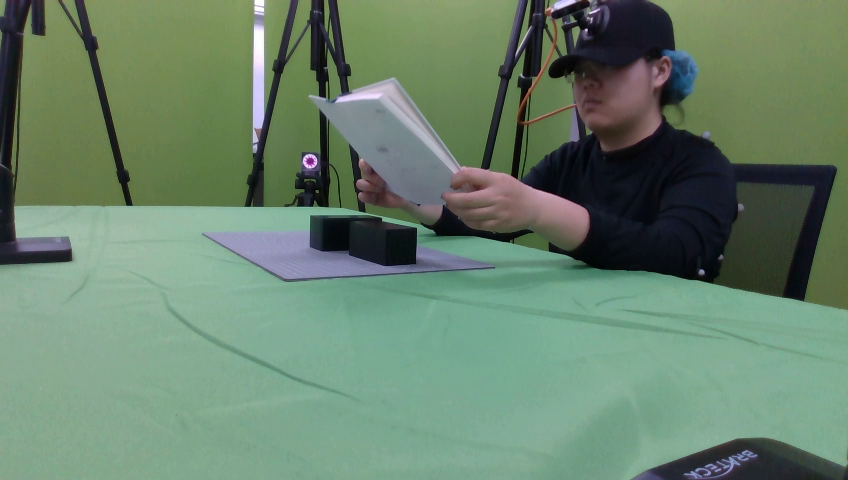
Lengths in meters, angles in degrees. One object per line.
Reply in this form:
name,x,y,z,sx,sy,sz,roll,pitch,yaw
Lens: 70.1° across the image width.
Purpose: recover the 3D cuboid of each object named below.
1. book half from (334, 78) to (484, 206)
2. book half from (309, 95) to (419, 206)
book half,-0.020,-0.125,0.834,0.016,0.211,0.148,-51,29,-22
book half,-0.095,-0.142,0.952,0.211,0.007,0.142,50,-8,-27
